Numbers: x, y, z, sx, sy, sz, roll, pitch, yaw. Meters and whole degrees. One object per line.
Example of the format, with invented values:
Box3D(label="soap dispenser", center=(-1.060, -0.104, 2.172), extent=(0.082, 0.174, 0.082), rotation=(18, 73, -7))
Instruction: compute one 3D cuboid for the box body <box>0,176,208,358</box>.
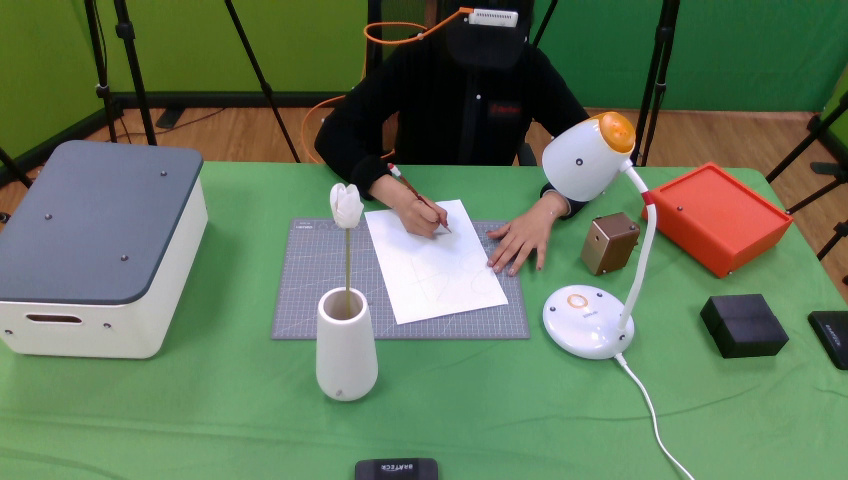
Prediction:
Box3D(label="box body", center=(-0.546, 0.017, 1.045), extent=(0.254, 0.161, 0.361), rotation=(2, 46, -2))

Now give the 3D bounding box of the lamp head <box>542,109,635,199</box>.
Box3D(label="lamp head", center=(0.253, -0.131, 0.893), extent=(0.113, 0.123, 0.112), rotation=(10, 66, -24))

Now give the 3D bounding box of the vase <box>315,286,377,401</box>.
Box3D(label="vase", center=(-0.119, 0.159, 0.911), extent=(0.098, 0.201, 0.097), rotation=(2, 47, -2))

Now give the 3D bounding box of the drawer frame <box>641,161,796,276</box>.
Box3D(label="drawer frame", center=(0.599, -0.051, 1.244), extent=(0.202, 0.083, 0.212), rotation=(-24, 52, -25))

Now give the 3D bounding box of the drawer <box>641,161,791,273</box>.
Box3D(label="drawer", center=(0.596, -0.051, 1.246), extent=(0.194, 0.073, 0.210), rotation=(-23, 52, -25))

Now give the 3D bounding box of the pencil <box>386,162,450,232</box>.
Box3D(label="pencil", center=(-0.008, -0.081, 1.187), extent=(0.012, 0.195, 0.012), rotation=(-35, 25, 19))

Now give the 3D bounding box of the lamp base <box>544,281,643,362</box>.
Box3D(label="lamp base", center=(0.303, 0.095, 1.014), extent=(0.161, 0.181, 0.178), rotation=(-24, 54, -24))

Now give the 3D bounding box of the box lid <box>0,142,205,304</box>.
Box3D(label="box lid", center=(-0.534, -0.044, 0.995), extent=(0.263, 0.015, 0.369), rotation=(3, 45, -3))

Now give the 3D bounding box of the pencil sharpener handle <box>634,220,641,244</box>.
Box3D(label="pencil sharpener handle", center=(0.405, -0.015, 1.162), extent=(0.031, 0.068, 0.035), rotation=(-15, 45, -18))

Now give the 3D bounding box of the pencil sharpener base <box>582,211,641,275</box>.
Box3D(label="pencil sharpener base", center=(0.357, 0.005, 1.156), extent=(0.077, 0.107, 0.061), rotation=(-15, 48, -18))

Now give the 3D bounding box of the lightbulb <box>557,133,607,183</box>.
Box3D(label="lightbulb", center=(0.243, -0.127, 0.917), extent=(0.059, 0.108, 0.059), rotation=(6, 67, -14))

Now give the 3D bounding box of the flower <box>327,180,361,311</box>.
Box3D(label="flower", center=(-0.110, 0.086, 0.867), extent=(0.044, 0.363, 0.038), rotation=(22, 33, 36))
